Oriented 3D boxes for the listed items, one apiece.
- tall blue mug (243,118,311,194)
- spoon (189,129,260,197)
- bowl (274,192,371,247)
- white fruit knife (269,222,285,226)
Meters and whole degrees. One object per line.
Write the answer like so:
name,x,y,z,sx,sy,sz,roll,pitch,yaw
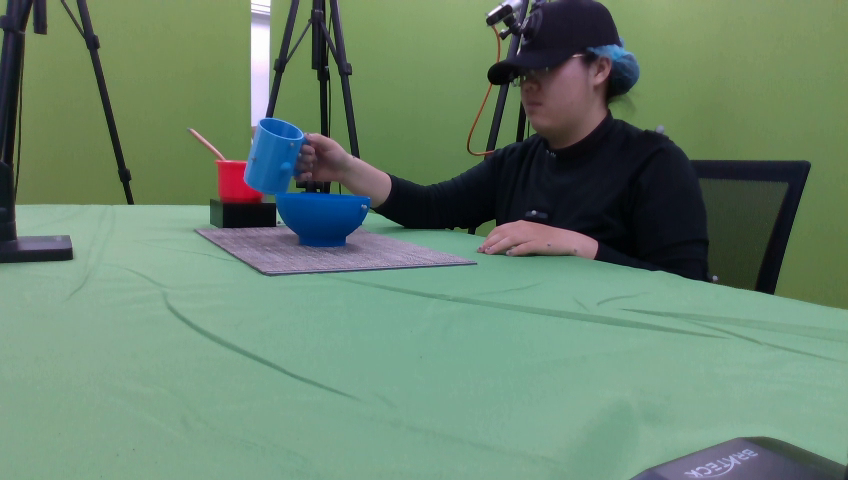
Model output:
tall blue mug,-0.253,-0.148,1.045,0.078,0.108,0.107,26,26,4
spoon,-0.388,-0.150,1.174,0.193,0.021,0.042,48,20,7
bowl,-0.161,-0.032,0.958,0.151,0.077,0.151,3,7,0
white fruit knife,-0.222,-0.038,1.261,0.208,0.016,0.027,-4,-17,-32
